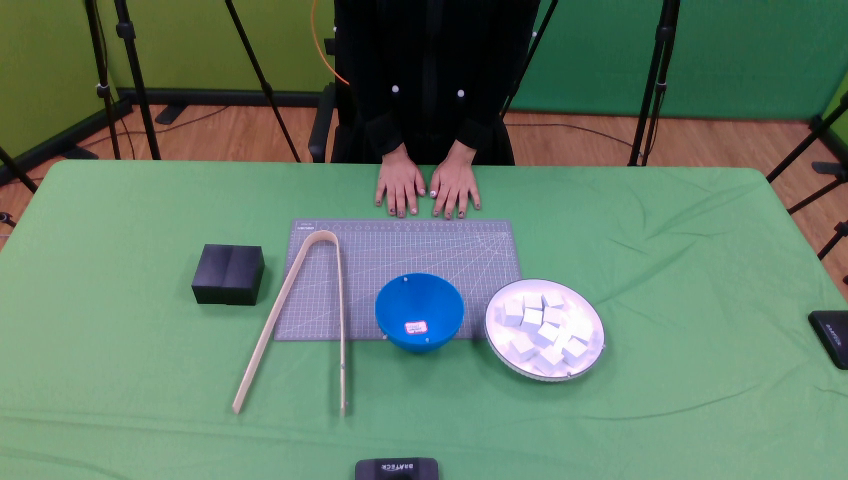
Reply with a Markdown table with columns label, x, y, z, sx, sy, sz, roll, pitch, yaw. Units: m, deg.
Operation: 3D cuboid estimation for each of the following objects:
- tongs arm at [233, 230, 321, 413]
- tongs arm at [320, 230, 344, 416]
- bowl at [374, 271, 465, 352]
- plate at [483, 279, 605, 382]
| label | x | y | z | sx | sy | sz | roll | pitch | yaw |
| --- | --- | --- | --- | --- | --- | --- | --- | --- | --- |
| tongs arm | -0.250 | 0.124 | 1.054 | 0.028 | 0.028 | 0.385 | 5 | 46 | 10 |
| tongs arm | -0.163 | 0.126 | 1.055 | 0.051 | 0.026 | 0.382 | -4 | 47 | -3 |
| bowl | -0.009 | 0.136 | 1.024 | 0.151 | 0.077 | 0.150 | 2 | 47 | -2 |
| plate | 0.204 | 0.158 | 1.047 | 0.208 | 0.039 | 0.206 | 3 | 47 | -3 |
